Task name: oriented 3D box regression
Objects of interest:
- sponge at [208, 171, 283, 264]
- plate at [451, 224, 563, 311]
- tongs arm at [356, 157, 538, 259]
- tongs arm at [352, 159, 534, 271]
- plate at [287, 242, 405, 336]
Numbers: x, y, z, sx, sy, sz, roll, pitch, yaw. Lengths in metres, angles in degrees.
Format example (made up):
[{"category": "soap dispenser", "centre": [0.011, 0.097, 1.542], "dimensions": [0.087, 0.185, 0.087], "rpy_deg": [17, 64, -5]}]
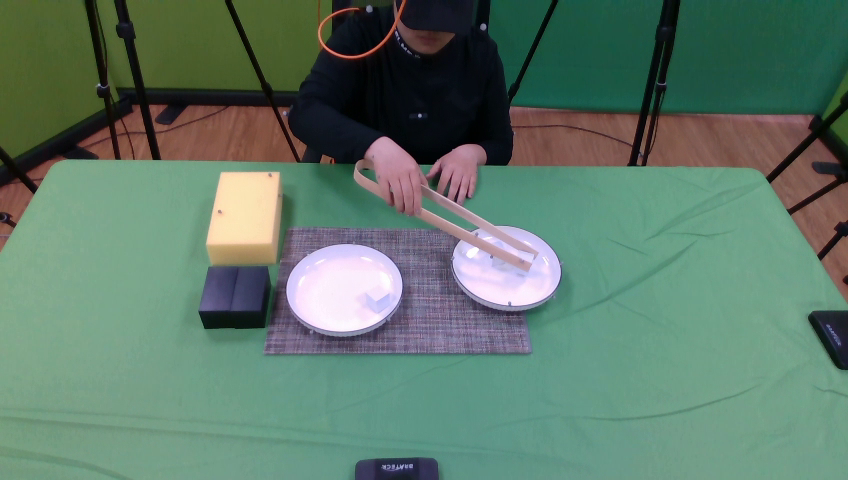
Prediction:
[{"category": "sponge", "centre": [-0.346, -0.048, 1.191], "dimensions": [0.118, 0.061, 0.205], "rpy_deg": [-2, 46, -7]}, {"category": "plate", "centre": [0.154, 0.053, 1.140], "dimensions": [0.209, 0.038, 0.208], "rpy_deg": [2, 46, -2]}, {"category": "tongs arm", "centre": [0.042, -0.062, 1.153], "dimensions": [0.387, 0.028, 0.028], "rpy_deg": [29, 52, 7]}, {"category": "tongs arm", "centre": [0.032, -0.048, 1.138], "dimensions": [0.384, 0.026, 0.050], "rpy_deg": [26, 49, 4]}, {"category": "plate", "centre": [-0.138, 0.090, 1.084], "dimensions": [0.208, 0.039, 0.206], "rpy_deg": [2, 46, -2]}]
